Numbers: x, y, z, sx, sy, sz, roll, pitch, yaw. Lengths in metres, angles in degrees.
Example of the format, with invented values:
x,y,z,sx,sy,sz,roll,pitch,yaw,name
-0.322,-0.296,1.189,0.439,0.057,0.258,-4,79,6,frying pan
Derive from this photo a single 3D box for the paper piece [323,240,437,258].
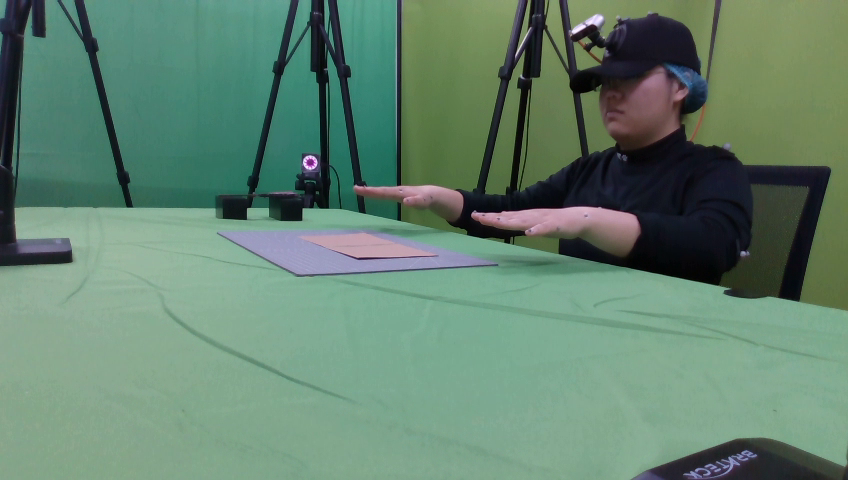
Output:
x,y,z,sx,sy,sz,roll,pitch,yaw,name
-0.069,0.015,0.932,0.137,0.008,0.137,-5,10,-30,paper piece

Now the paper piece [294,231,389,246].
x,y,z,sx,sy,sz,roll,pitch,yaw,name
-0.138,-0.003,1.045,0.136,0.004,0.134,-3,10,-30,paper piece

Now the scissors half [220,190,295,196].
x,y,z,sx,sy,sz,roll,pitch,yaw,name
-0.380,-0.105,1.380,0.176,0.013,0.040,-5,16,-35,scissors half

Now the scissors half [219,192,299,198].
x,y,z,sx,sy,sz,roll,pitch,yaw,name
-0.370,-0.101,1.363,0.176,0.013,0.040,-2,9,-19,scissors half
